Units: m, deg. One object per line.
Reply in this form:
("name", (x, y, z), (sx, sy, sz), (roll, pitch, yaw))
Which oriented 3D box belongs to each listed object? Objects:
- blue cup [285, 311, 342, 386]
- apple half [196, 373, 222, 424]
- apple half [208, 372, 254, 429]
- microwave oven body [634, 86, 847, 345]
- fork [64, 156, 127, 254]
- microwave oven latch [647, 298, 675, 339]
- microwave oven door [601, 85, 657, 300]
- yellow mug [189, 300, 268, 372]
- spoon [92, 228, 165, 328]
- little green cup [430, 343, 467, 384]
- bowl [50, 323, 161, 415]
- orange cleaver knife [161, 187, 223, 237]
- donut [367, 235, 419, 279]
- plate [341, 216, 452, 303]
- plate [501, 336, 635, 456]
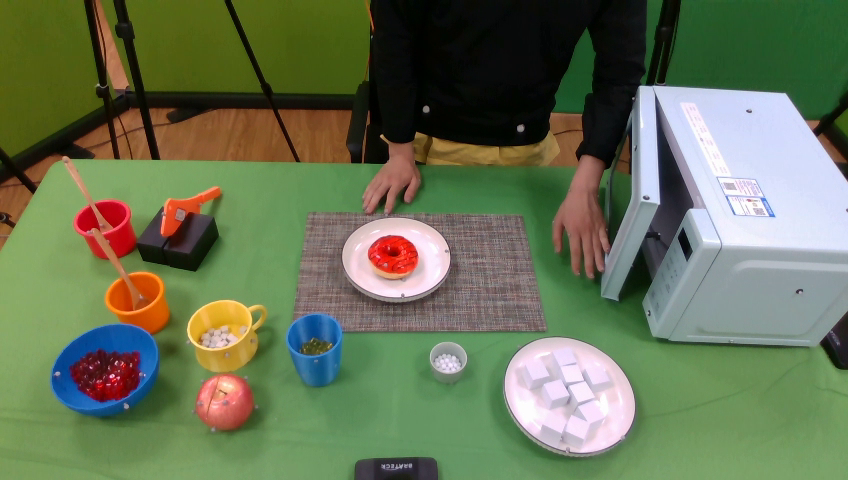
("blue cup", (-0.170, 0.180, 0.958), (0.093, 0.101, 0.092), (2, 44, -1))
("apple half", (-0.322, 0.239, 0.906), (0.033, 0.081, 0.081), (7, 46, 0))
("apple half", (-0.282, 0.244, 0.908), (0.053, 0.075, 0.080), (7, 43, -1))
("microwave oven body", (0.567, -0.053, 1.118), (0.326, 0.261, 0.439), (2, 45, -1))
("fork", (-0.614, -0.064, 1.130), (0.028, 0.018, 0.207), (-29, 97, -17))
("microwave oven latch", (0.413, 0.134, 1.060), (0.030, 0.029, 0.078), (5, 45, 2))
("microwave oven door", (0.386, -0.098, 1.143), (0.039, 0.245, 0.354), (12, 46, 7))
("yellow mug", (-0.315, 0.149, 1.001), (0.131, 0.064, 0.099), (-33, 55, -31))
("spoon", (-0.496, 0.063, 1.014), (0.041, 0.194, 0.021), (-33, 12, -31))
("little green cup", (0.038, 0.203, 0.994), (0.061, 0.039, 0.061), (2, 46, -2))
("bowl", (-0.472, 0.209, 0.924), (0.151, 0.077, 0.150), (2, 45, -2))
("orange cleaver knife", (-0.448, -0.058, 1.180), (0.012, 0.077, 0.211), (13, 17, 6))
("donut", (-0.057, 0.032, 1.131), (0.099, 0.048, 0.098), (3, 45, -3))
("plate", (-0.052, 0.039, 1.140), (0.209, 0.038, 0.208), (2, 46, -2))
("plate", (0.225, 0.248, 0.963), (0.208, 0.039, 0.206), (2, 46, -2))
